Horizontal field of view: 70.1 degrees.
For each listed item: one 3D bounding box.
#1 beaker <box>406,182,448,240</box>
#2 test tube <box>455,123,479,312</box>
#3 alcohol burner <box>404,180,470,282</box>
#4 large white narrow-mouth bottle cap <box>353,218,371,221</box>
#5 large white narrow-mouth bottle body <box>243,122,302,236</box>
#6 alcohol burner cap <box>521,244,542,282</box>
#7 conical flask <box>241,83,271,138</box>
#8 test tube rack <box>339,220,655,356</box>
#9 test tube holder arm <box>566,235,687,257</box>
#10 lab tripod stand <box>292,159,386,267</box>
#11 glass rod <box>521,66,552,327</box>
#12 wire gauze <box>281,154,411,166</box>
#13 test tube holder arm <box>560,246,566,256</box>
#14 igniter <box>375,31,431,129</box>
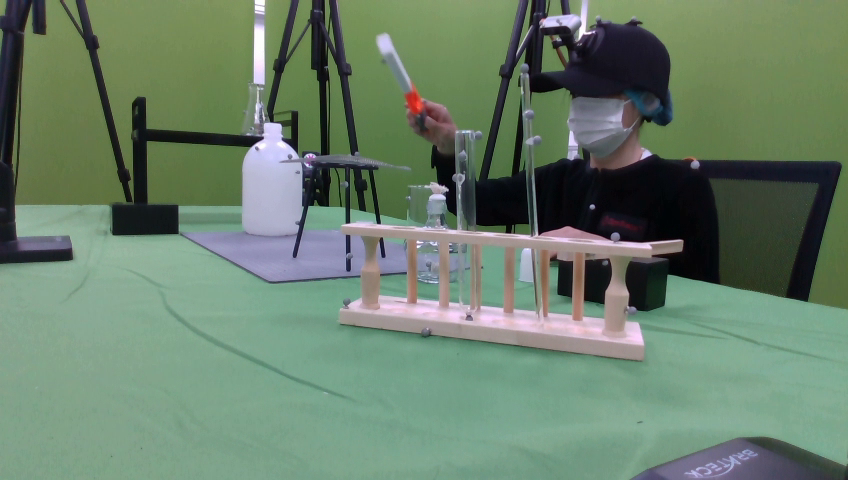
[{"bbox_3d":[0.008,-0.053,1.102,0.074,0.100,0.083,-6,12,-44],"label":"beaker"},{"bbox_3d":[0.034,-0.016,0.476,0.017,0.150,0.017,-2,10,1],"label":"test tube"},{"bbox_3d":[0.015,-0.011,0.715,0.078,0.119,0.078,0,7,0],"label":"alcohol burner"},{"bbox_3d":[-0.120,-0.029,1.184,0.038,0.024,0.037,2,8,0],"label":"large white narrow-mouth bottle cap"},{"bbox_3d":[-0.265,-0.109,1.061,0.102,0.194,0.102,2,8,0],"label":"large white narrow-mouth bottle body"},{"bbox_3d":[0.136,0.026,0.741,0.034,0.048,0.034,1,6,0],"label":"alcohol burner cap"},{"bbox_3d":[-0.384,-0.297,1.393,0.075,0.122,0.075,2,7,0],"label":"conical flask"},{"bbox_3d":[0.056,0.032,0.495,0.242,0.085,0.067,4,7,15],"label":"test tube rack"},{"bbox_3d":[0.215,0.006,0.629,0.179,0.015,0.013,-3,9,-30],"label":"test tube holder arm"},{"bbox_3d":[-0.105,-0.039,0.797,0.148,0.131,0.148,2,5,0],"label":"lab tripod stand"},{"bbox_3d":[0.085,-0.028,0.454,0.008,0.199,0.008,-7,10,2],"label":"glass rod"},{"bbox_3d":[-0.102,-0.105,0.785,0.121,0.011,0.126,7,8,43],"label":"wire gauze"},{"bbox_3d":[0.173,0.007,0.611,0.088,0.015,0.010,-3,9,-30],"label":"test tube holder arm"},{"bbox_3d":[-0.028,-0.255,1.001,0.025,0.057,0.277,-18,-17,9],"label":"igniter"}]
